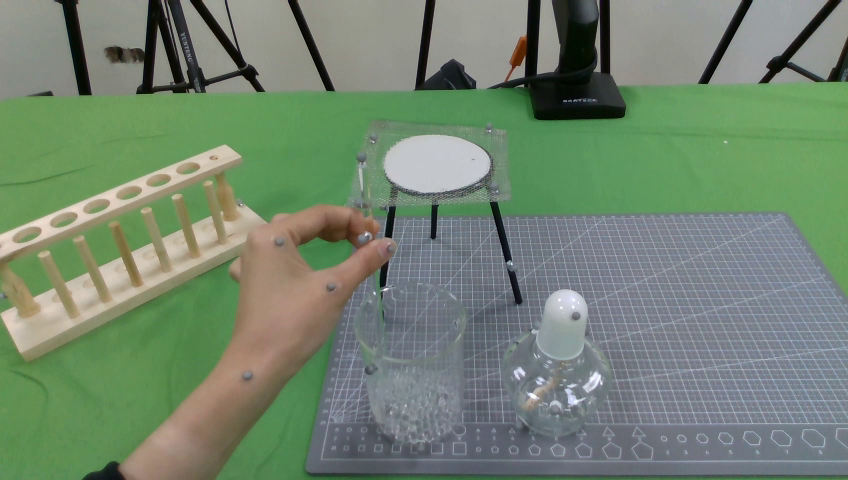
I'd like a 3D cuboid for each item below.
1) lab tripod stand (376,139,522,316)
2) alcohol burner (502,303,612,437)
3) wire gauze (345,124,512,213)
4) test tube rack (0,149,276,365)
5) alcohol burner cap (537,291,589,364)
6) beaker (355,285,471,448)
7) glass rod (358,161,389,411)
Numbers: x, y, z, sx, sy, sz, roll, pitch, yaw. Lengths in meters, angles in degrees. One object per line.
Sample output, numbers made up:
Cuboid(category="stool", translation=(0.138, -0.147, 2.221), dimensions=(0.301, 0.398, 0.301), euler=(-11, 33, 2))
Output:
Cuboid(category="lab tripod stand", translation=(0.018, -0.009, 0.525), dimensions=(0.148, 0.132, 0.147), euler=(0, 38, 1))
Cuboid(category="alcohol burner", translation=(0.093, 0.083, 0.421), dimensions=(0.078, 0.120, 0.077), euler=(-1, 41, 2))
Cuboid(category="wire gauze", translation=(0.007, -0.060, 0.481), dimensions=(0.121, 0.011, 0.124), euler=(2, 40, 4))
Cuboid(category="test tube rack", translation=(-0.268, 0.006, 0.565), dimensions=(0.242, 0.086, 0.066), euler=(-31, 46, -30))
Cuboid(category="alcohol burner cap", translation=(0.093, 0.055, 0.398), dimensions=(0.034, 0.048, 0.033), euler=(1, 40, 0))
Cuboid(category="beaker", translation=(-0.008, 0.091, 0.429), dimensions=(0.074, 0.101, 0.083), euler=(-32, 47, -31))
Cuboid(category="glass rod", translation=(-0.033, 0.041, 0.408), dimensions=(0.008, 0.201, 0.008), euler=(-2, 30, 1))
